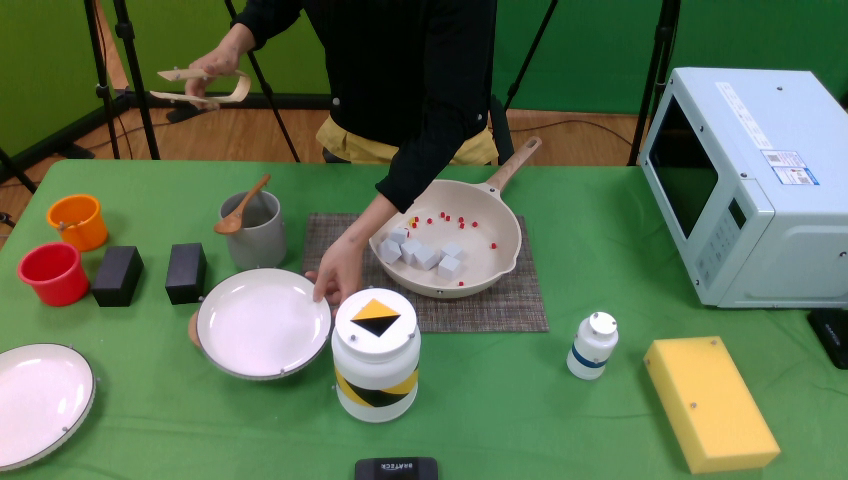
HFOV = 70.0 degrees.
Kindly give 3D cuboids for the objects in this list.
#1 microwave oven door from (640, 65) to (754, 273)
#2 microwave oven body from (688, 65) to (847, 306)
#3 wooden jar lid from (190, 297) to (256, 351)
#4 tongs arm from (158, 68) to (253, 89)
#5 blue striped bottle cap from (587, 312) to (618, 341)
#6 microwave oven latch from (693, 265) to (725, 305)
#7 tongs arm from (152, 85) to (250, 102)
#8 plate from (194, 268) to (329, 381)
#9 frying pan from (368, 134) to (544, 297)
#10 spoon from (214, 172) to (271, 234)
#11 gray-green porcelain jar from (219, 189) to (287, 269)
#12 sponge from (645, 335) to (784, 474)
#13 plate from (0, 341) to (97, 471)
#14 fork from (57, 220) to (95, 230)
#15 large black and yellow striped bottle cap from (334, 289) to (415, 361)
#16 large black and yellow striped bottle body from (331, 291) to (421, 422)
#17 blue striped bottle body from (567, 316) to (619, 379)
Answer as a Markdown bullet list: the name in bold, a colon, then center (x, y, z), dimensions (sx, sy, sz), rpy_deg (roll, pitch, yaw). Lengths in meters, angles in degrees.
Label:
- **microwave oven door**: center (0.522, -0.147, 1.193), dimensions (0.039, 0.245, 0.353), rpy_deg (0, 47, -3)
- **microwave oven body**: center (0.669, -0.111, 1.176), dimensions (0.326, 0.261, 0.439), rpy_deg (0, 46, -3)
- **wooden jar lid**: center (-0.342, 0.146, 1.034), dimensions (0.108, 0.021, 0.107), rpy_deg (2, 46, -2)
- **tongs arm**: center (-0.388, -0.290, 1.110), dimensions (0.026, 0.051, 0.383), rpy_deg (23, 19, -3)
- **blue striped bottle cap**: center (0.279, 0.134, 0.947), dimensions (0.044, 0.021, 0.044), rpy_deg (2, 45, -2)
- **microwave oven latch**: center (0.523, 0.081, 1.115), dimensions (0.030, 0.029, 0.078), rpy_deg (2, 46, -1)
- **tongs arm**: center (-0.397, -0.270, 1.116), dimensions (0.028, 0.028, 0.386), rpy_deg (20, 14, -2)
- **plate**: center (-0.258, 0.137, 0.976), dimensions (0.208, 0.039, 0.206), rpy_deg (7, 49, -8)
- **frying pan**: center (0.104, -0.069, 1.205), dimensions (0.305, 0.103, 0.487), rpy_deg (32, 61, 23)
- **spoon**: center (-0.312, -0.069, 1.068), dimensions (0.041, 0.022, 0.193), rpy_deg (9, 43, 11)
- **gray-green porcelain jar**: center (-0.310, -0.014, 1.113), dimensions (0.106, 0.127, 0.105), rpy_deg (2, 46, -2)
- **sponge**: center (0.449, 0.253, 0.956), dimensions (0.118, 0.061, 0.205), rpy_deg (-4, 46, -7)
- **plate**: center (-0.599, 0.247, 0.904), dimensions (0.209, 0.038, 0.208), rpy_deg (2, 47, -2)
- **fork**: center (-0.624, -0.027, 1.086), dimensions (0.028, 0.207, 0.018), rpy_deg (-2, 91, -17)
- **large black and yellow striped bottle cap**: center (-0.069, 0.117, 0.850), dimensions (0.115, 0.019, 0.114), rpy_deg (2, 45, -2)
- **large black and yellow striped bottle body**: center (-0.071, 0.175, 0.911), dimensions (0.131, 0.185, 0.130), rpy_deg (2, 47, -2)
- **blue striped bottle body**: center (0.276, 0.168, 0.984), dimensions (0.063, 0.121, 0.062), rpy_deg (2, 46, -2)
